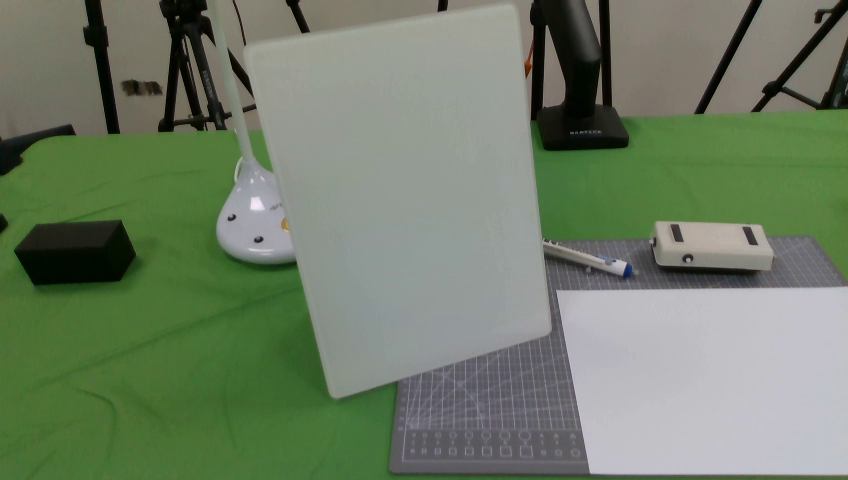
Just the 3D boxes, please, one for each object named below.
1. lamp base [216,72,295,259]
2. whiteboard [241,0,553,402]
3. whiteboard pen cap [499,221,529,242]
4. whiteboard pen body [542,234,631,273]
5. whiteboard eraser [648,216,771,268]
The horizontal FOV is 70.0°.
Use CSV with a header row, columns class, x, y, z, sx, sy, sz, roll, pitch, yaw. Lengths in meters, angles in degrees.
class,x,y,z,sx,sy,sz,roll,pitch,yaw
lamp base,-0.186,-0.095,0.702,0.177,0.182,0.160,26,47,37
whiteboard,-0.022,-0.045,0.566,0.217,0.307,0.142,-14,19,-12
whiteboard pen cap,0.102,-0.009,0.683,0.033,0.018,0.018,17,42,19
whiteboard pen body,0.154,0.009,0.661,0.140,0.017,0.017,18,42,21
whiteboard eraser,0.298,0.004,0.640,0.112,0.042,0.055,1,36,7
